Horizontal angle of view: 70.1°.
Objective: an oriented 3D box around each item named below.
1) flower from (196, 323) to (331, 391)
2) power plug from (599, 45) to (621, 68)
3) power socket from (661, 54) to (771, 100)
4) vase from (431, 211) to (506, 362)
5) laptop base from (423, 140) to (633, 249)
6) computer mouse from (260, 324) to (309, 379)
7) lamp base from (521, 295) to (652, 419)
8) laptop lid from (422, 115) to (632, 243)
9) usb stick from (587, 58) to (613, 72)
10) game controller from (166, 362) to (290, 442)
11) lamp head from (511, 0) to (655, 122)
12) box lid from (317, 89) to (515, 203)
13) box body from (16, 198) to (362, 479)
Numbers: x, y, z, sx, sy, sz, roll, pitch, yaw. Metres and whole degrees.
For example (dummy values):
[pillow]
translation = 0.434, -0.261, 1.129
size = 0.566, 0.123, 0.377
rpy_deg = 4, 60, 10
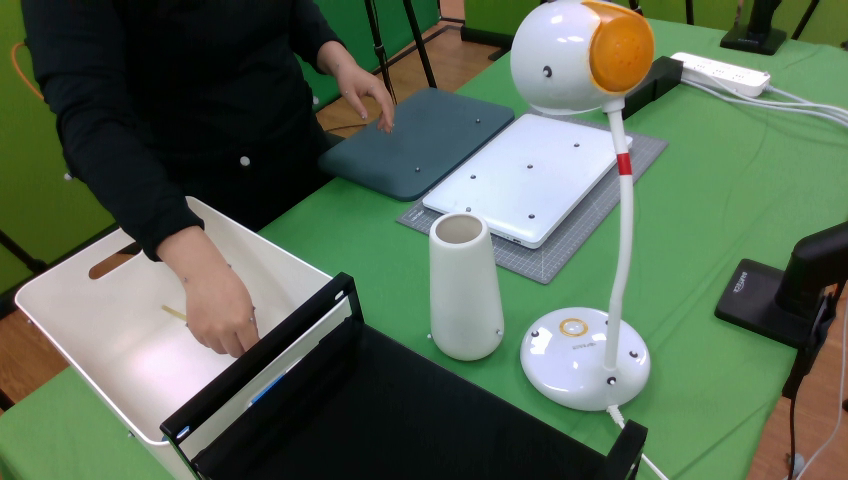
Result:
[flower]
translation = -0.247, 0.137, 0.811
size = 0.358, 0.038, 0.044
rpy_deg = 8, 62, 43
[power plug]
translation = 0.437, -0.422, 1.412
size = 0.053, 0.035, 0.072
rpy_deg = -19, 75, -47
[power socket]
translation = 0.615, -0.349, 1.285
size = 0.072, 0.033, 0.225
rpy_deg = -36, 48, -28
[vase]
translation = 0.054, 0.062, 0.757
size = 0.098, 0.201, 0.097
rpy_deg = -3, 40, 3
[laptop base]
translation = 0.194, -0.117, 1.087
size = 0.233, 0.023, 0.355
rpy_deg = 20, 47, 34
[computer mouse]
translation = -0.158, 0.155, 0.793
size = 0.116, 0.041, 0.063
rpy_deg = 30, 50, 24
[lamp base]
translation = 0.201, 0.095, 0.710
size = 0.161, 0.181, 0.177
rpy_deg = -16, 43, -10
[laptop lid]
translation = 0.190, -0.126, 1.081
size = 0.239, 0.013, 0.358
rpy_deg = 23, 48, 34
[usb stick]
translation = 0.401, -0.399, 1.381
size = 0.059, 0.027, 0.021
rpy_deg = 0, 49, 21
[game controller]
translation = -0.233, 0.210, 0.737
size = 0.096, 0.052, 0.155
rpy_deg = 27, 52, 32
[lamp head]
translation = 0.155, -0.168, 0.564
size = 0.113, 0.113, 0.122
rpy_deg = -18, 23, -12
[box lid]
translation = -0.009, -0.207, 1.236
size = 0.261, 0.015, 0.372
rpy_deg = 23, 49, 32
[box body]
translation = -0.285, 0.123, 0.766
size = 0.361, 0.161, 0.255
rpy_deg = 25, 49, 33
